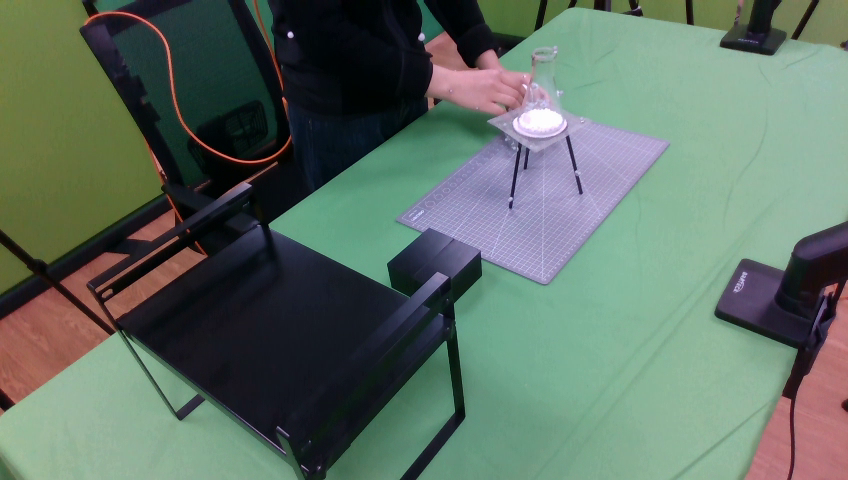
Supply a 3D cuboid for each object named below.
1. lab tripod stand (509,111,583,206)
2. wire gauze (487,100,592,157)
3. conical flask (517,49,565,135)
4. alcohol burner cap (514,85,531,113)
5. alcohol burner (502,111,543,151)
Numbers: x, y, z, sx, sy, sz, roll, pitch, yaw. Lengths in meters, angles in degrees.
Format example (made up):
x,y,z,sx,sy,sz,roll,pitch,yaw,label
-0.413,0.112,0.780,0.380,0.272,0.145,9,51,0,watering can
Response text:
x,y,z,sx,sy,sz,roll,pitch,yaw,label
0.198,-0.139,1.019,0.148,0.132,0.147,-3,39,3,lab tripod stand
0.185,-0.187,0.974,0.122,0.011,0.124,-28,47,-22,wire gauze
0.183,-0.231,0.936,0.075,0.122,0.075,-4,40,4,conical flask
0.181,-0.263,1.117,0.034,0.048,0.033,-7,42,6,alcohol burner cap
0.186,-0.231,1.145,0.078,0.119,0.077,-6,39,5,alcohol burner
